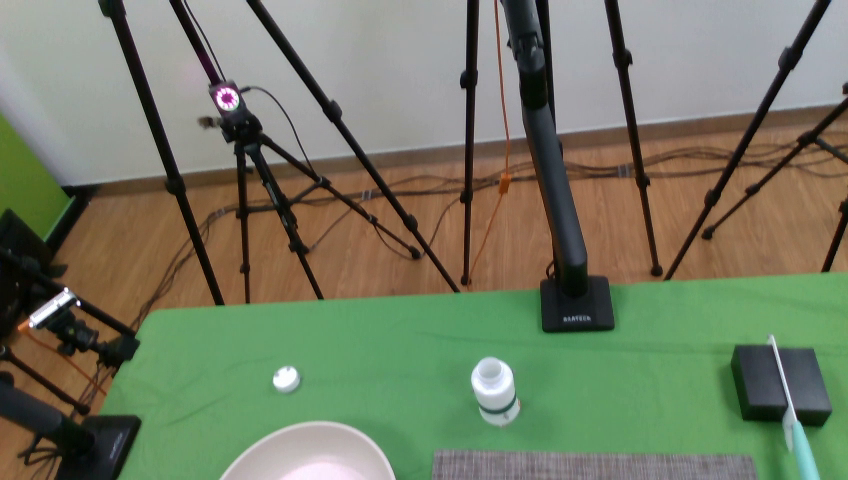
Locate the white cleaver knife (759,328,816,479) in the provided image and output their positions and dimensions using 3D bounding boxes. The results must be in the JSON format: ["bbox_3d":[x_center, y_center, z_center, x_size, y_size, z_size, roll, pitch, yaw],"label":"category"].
[{"bbox_3d":[0.498,0.247,0.830,0.021,0.066,0.284,-6,44,19],"label":"white cleaver knife"}]

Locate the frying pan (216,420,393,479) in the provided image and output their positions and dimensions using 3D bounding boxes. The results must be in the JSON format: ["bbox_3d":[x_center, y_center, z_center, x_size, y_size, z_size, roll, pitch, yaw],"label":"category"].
[{"bbox_3d":[-0.181,0.468,0.780,0.306,0.104,0.483,-7,38,10],"label":"frying pan"}]

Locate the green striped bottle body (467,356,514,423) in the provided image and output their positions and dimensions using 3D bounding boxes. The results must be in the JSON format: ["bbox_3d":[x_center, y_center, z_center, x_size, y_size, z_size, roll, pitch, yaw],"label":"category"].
[{"bbox_3d":[0.101,0.224,0.922,0.063,0.120,0.062,-8,46,8],"label":"green striped bottle body"}]

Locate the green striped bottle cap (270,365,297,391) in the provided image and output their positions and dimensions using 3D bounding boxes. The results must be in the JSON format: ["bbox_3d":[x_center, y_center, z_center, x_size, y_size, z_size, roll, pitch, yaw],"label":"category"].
[{"bbox_3d":[-0.248,0.244,1.069,0.044,0.020,0.044,-8,45,9],"label":"green striped bottle cap"}]
